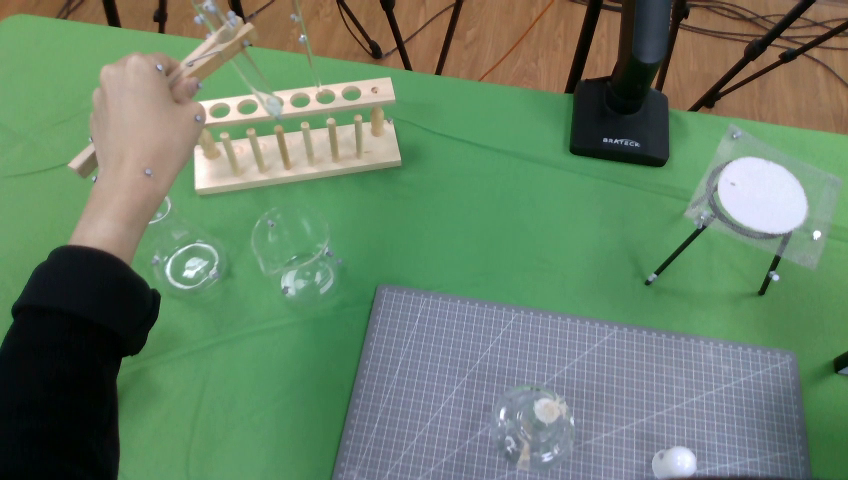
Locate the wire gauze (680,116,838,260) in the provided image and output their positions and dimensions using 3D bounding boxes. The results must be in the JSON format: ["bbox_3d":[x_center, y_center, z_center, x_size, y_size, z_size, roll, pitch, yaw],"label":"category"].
[{"bbox_3d":[0.324,-0.052,0.579,0.121,0.011,0.124,29,66,11],"label":"wire gauze"}]

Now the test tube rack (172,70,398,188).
[{"bbox_3d":[-0.156,-0.129,0.710,0.243,0.086,0.066,-10,62,-7],"label":"test tube rack"}]

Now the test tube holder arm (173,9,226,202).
[{"bbox_3d":[-0.176,-0.110,0.477,0.015,0.013,0.177,-11,63,25],"label":"test tube holder arm"}]

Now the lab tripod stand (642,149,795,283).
[{"bbox_3d":[0.315,-0.020,0.638,0.148,0.132,0.147,2,61,-2],"label":"lab tripod stand"}]

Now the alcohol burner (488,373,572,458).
[{"bbox_3d":[0.099,0.154,0.547,0.078,0.120,0.077,2,61,-3],"label":"alcohol burner"}]

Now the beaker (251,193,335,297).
[{"bbox_3d":[-0.133,0.013,0.628,0.074,0.101,0.083,23,64,11],"label":"beaker"}]

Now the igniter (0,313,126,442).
[{"bbox_3d":[-0.385,0.169,0.524,0.057,0.025,0.276,34,65,26],"label":"igniter"}]

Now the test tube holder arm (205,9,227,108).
[{"bbox_3d":[-0.173,-0.150,0.499,0.015,0.010,0.087,-11,69,25],"label":"test tube holder arm"}]

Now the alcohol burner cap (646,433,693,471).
[{"bbox_3d":[0.233,0.196,0.569,0.034,0.048,0.033,1,62,-1],"label":"alcohol burner cap"}]

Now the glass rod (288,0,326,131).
[{"bbox_3d":[-0.125,-0.188,0.667,0.008,0.201,0.008,-2,54,4],"label":"glass rod"}]

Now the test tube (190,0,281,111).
[{"bbox_3d":[-0.157,-0.157,0.517,0.017,0.151,0.017,-4,67,9],"label":"test tube"}]

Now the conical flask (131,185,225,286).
[{"bbox_3d":[-0.257,-0.009,0.622,0.075,0.123,0.074,1,61,-1],"label":"conical flask"}]
